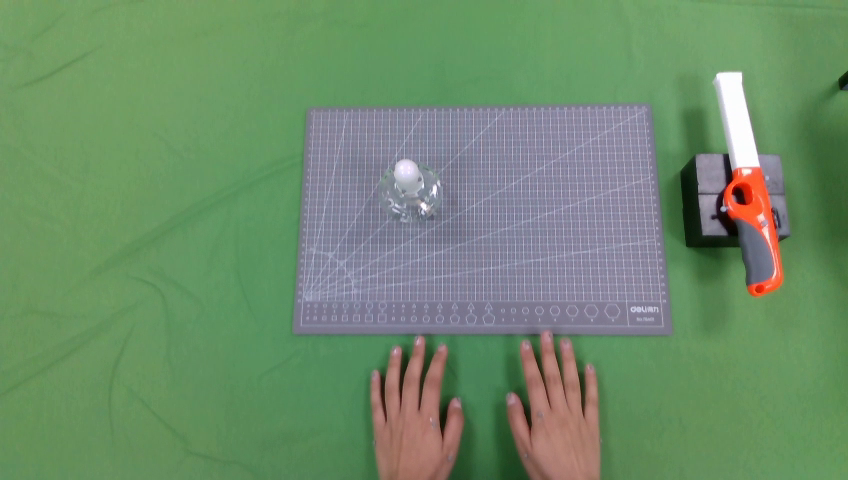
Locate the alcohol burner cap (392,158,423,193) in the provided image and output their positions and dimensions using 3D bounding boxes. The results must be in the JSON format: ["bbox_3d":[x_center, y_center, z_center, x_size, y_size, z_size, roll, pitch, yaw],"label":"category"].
[{"bbox_3d":[-0.020,-0.073,0.675,0.034,0.048,0.033,-1,78,7],"label":"alcohol burner cap"}]

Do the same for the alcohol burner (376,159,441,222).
[{"bbox_3d":[-0.018,-0.064,0.710,0.078,0.119,0.077,0,74,0],"label":"alcohol burner"}]

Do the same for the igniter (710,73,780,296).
[{"bbox_3d":[0.369,-0.071,0.699,0.057,0.025,0.274,-1,72,2],"label":"igniter"}]
